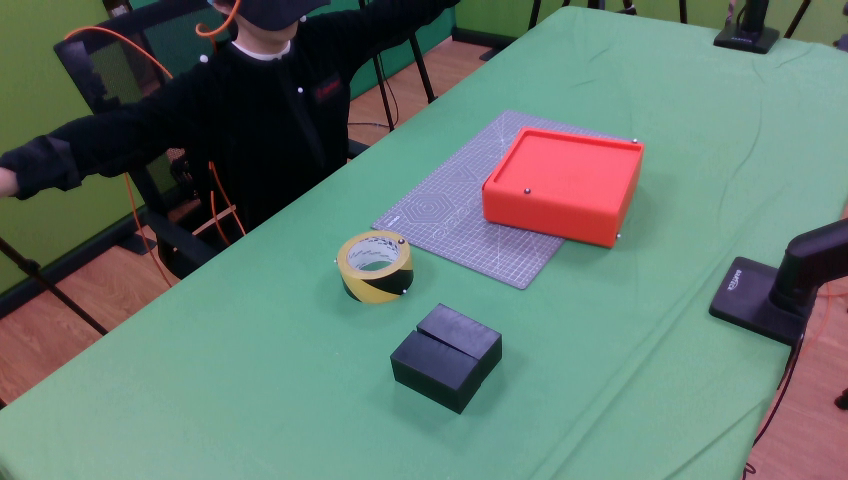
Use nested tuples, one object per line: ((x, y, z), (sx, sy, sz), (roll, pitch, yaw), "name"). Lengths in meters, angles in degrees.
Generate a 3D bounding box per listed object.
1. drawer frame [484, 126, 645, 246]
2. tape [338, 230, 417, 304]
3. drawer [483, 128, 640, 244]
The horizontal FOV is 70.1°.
((0.234, -0.096, 1.003), (0.212, 0.083, 0.202), (14, 44, 22), "drawer frame")
((-0.069, 0.041, 0.917), (0.117, 0.053, 0.116), (-4, 41, 4), "tape")
((0.230, -0.096, 1.006), (0.210, 0.073, 0.194), (14, 44, 23), "drawer")
